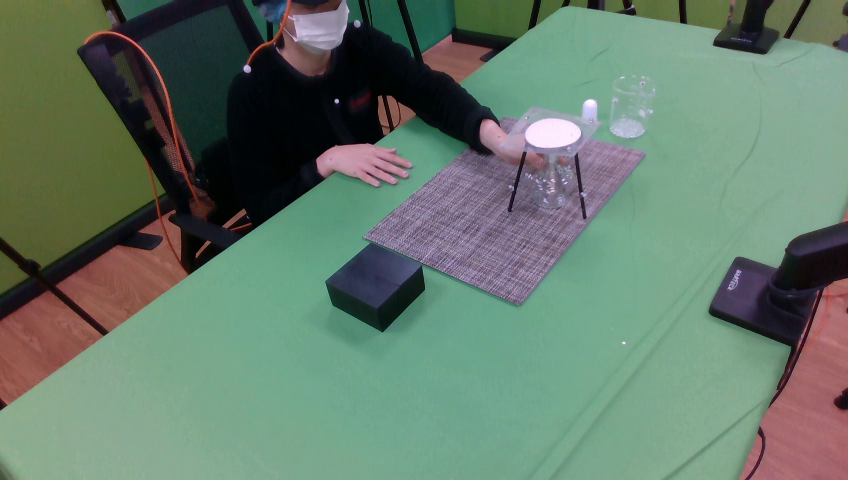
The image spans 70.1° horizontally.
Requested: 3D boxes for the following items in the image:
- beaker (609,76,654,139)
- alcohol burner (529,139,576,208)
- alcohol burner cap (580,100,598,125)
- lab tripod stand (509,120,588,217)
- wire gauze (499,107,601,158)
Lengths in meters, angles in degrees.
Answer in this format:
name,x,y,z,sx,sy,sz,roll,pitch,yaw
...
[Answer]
name,x,y,z,sx,sy,sz,roll,pitch,yaw
beaker,0.393,-0.248,1.144,0.074,0.101,0.083,-32,47,-24
alcohol burner,0.211,-0.112,0.995,0.078,0.119,0.077,-6,41,5
alcohol burner cap,0.331,-0.258,1.210,0.034,0.048,0.033,-5,41,4
lab tripod stand,0.207,-0.114,0.983,0.148,0.132,0.147,-5,42,5
wire gauze,0.198,-0.168,0.943,0.120,0.011,0.125,17,47,27
